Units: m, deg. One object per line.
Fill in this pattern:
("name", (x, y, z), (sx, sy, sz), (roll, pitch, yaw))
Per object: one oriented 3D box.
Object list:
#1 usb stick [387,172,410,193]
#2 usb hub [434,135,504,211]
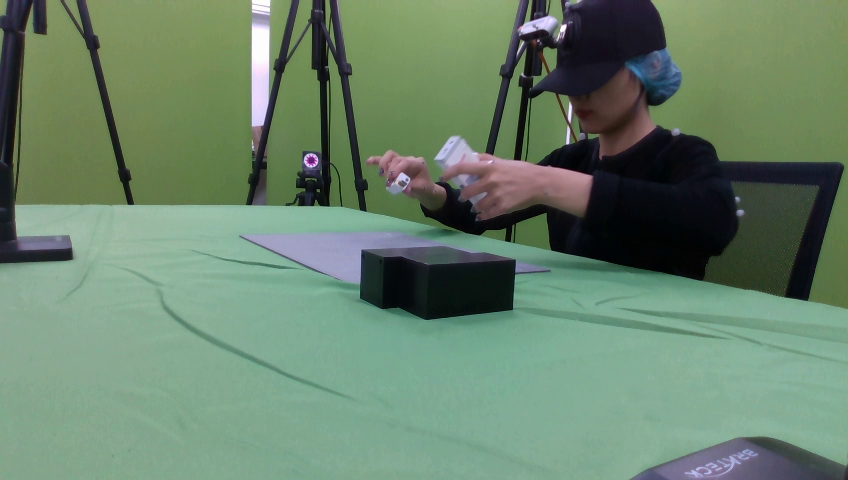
("usb stick", (-0.042, -0.101, 1.051), (0.021, 0.027, 0.059), (33, -17, -16))
("usb hub", (0.071, -0.102, 0.927), (0.125, 0.049, 0.025), (44, -18, -32))
